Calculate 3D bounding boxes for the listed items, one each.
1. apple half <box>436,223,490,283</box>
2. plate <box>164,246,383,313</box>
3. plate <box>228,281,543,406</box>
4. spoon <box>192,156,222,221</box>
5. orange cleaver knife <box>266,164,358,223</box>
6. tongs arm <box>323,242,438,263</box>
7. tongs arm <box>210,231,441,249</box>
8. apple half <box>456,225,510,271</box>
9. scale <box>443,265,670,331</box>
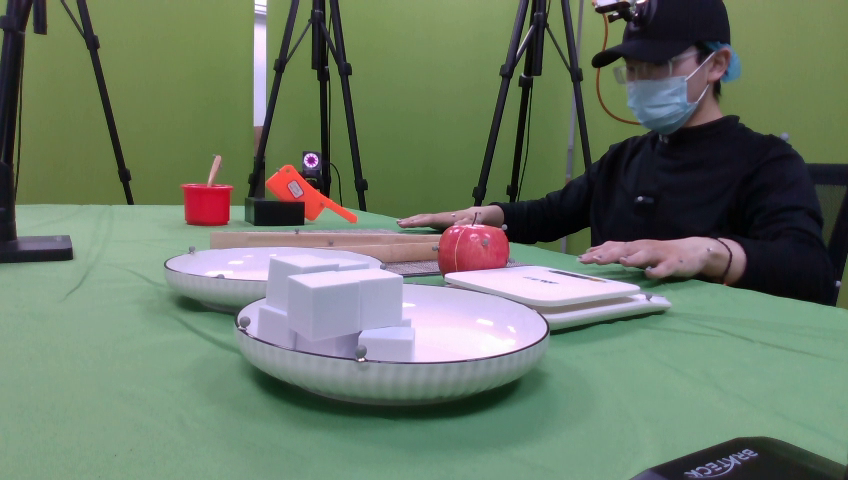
[{"bbox_3d":[0.045,0.017,0.691,0.081,0.074,0.053,-9,10,-41],"label":"apple half"},{"bbox_3d":[-0.145,0.038,0.600,0.209,0.038,0.209,2,7,0],"label":"plate"},{"bbox_3d":[-0.025,0.067,0.413,0.208,0.039,0.207,3,7,0],"label":"plate"},{"bbox_3d":[-0.430,-0.108,1.222,0.041,0.021,0.193,-1,52,0],"label":"spoon"},{"bbox_3d":[-0.237,-0.082,1.295,0.212,0.077,0.012,35,-9,-26],"label":"orange cleaver knife"},{"bbox_3d":[-0.070,0.017,0.800,0.390,0.028,0.028,-2,5,-34],"label":"tongs arm"},{"bbox_3d":[-0.106,0.004,0.876,0.386,0.026,0.050,0,7,-20],"label":"tongs arm"},{"bbox_3d":[0.071,0.021,0.662,0.082,0.081,0.032,-4,7,-42],"label":"apple half"},{"bbox_3d":[0.131,0.052,0.602,0.202,0.031,0.148,-2,9,-37],"label":"scale"}]
